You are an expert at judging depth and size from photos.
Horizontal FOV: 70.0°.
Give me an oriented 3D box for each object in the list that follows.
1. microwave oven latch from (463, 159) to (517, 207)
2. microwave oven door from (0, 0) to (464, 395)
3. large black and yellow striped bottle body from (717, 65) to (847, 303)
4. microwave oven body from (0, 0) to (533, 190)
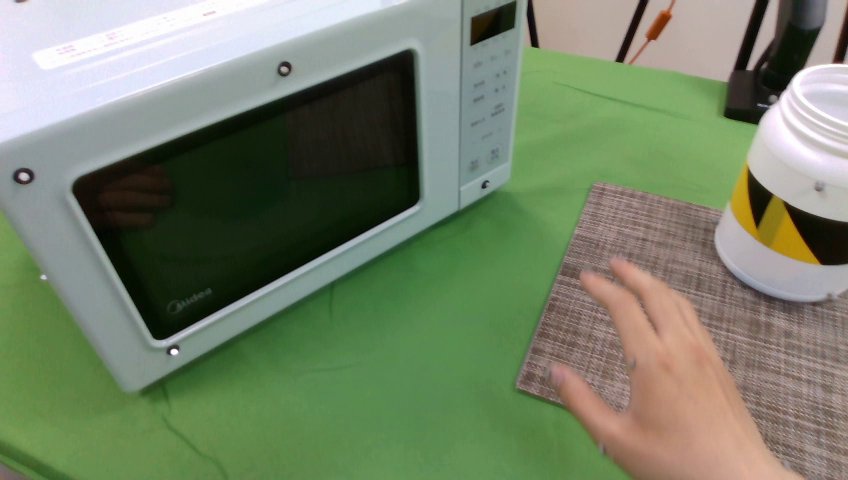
[{"bbox_3d":[0.065,-0.067,0.658,0.079,0.030,0.030,-29,51,-24],"label":"microwave oven latch"},{"bbox_3d":[-0.111,-0.044,0.492,0.356,0.246,0.039,-30,50,-26],"label":"microwave oven door"},{"bbox_3d":[0.356,-0.047,0.543,0.131,0.185,0.129,-1,44,1],"label":"large black and yellow striped bottle body"},{"bbox_3d":[-0.168,-0.136,0.596,0.442,0.262,0.322,-30,51,-26],"label":"microwave oven body"}]
